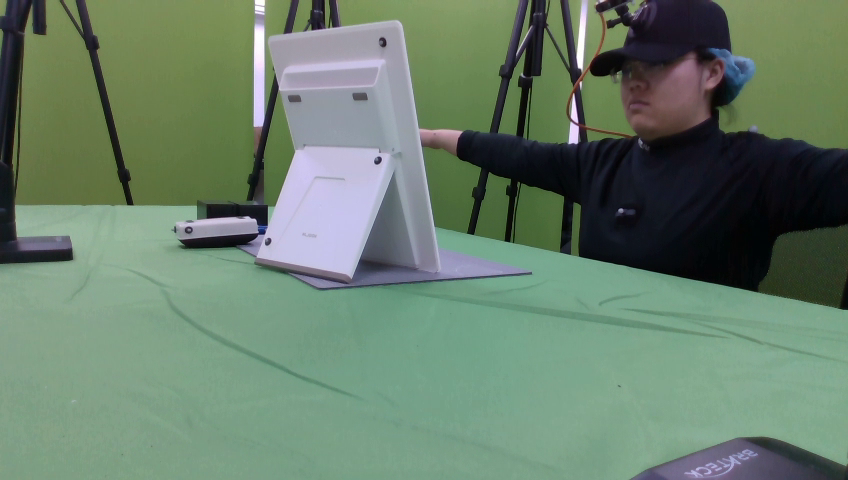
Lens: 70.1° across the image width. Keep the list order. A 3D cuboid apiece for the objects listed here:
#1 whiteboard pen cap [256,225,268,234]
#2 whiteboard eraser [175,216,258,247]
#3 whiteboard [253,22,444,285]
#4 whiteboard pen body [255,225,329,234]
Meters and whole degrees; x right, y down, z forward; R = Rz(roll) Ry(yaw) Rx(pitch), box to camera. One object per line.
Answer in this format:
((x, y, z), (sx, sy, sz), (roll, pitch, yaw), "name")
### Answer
((-0.288, -0.019, 1.072), (0.033, 0.018, 0.018), (-4, 10, -34), "whiteboard pen cap")
((-0.313, -0.013, 0.915), (0.113, 0.042, 0.055), (-5, 12, -30), "whiteboard eraser")
((-0.125, -0.081, 0.715), (0.216, 0.305, 0.144), (9, 29, 36), "whiteboard")
((-0.239, -0.019, 1.105), (0.141, 0.017, 0.017), (-2, 9, -34), "whiteboard pen body")
